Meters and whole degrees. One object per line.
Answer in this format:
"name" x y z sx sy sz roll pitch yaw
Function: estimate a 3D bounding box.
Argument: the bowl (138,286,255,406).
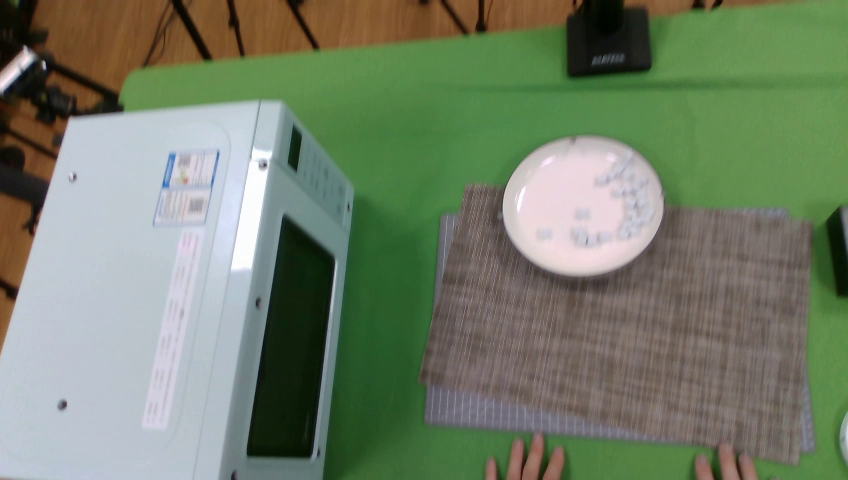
"bowl" -0.276 0.141 0.778 0.151 0.077 0.150 -5 69 12

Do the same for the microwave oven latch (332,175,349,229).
"microwave oven latch" -0.127 -0.056 0.884 0.030 0.030 0.078 -2 71 14

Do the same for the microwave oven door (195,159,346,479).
"microwave oven door" -0.167 0.115 0.720 0.039 0.246 0.353 -2 70 14

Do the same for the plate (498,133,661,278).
"plate" 0.205 -0.045 0.809 0.209 0.038 0.207 -5 68 13

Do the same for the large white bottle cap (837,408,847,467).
"large white bottle cap" 0.510 0.220 0.647 0.114 0.018 0.114 -4 70 12

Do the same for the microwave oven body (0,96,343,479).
"microwave oven body" -0.305 0.082 0.773 0.325 0.262 0.439 -2 71 14
